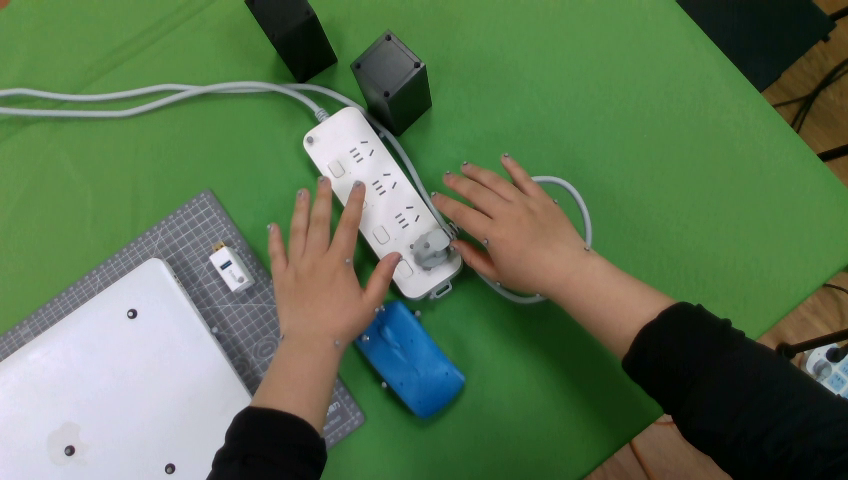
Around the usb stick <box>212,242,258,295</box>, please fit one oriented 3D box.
[{"bbox_3d":[-0.199,0.027,0.627,0.021,0.027,0.059,-36,80,3],"label":"usb stick"}]

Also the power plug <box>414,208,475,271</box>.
[{"bbox_3d":[0.025,0.003,0.594,0.072,0.053,0.035,-27,83,1],"label":"power plug"}]

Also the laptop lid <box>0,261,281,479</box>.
[{"bbox_3d":[-0.347,0.212,0.605,0.357,0.013,0.241,-34,84,-1],"label":"laptop lid"}]

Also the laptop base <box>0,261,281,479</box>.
[{"bbox_3d":[-0.347,0.212,0.617,0.354,0.023,0.235,-36,84,-2],"label":"laptop base"}]

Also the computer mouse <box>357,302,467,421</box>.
[{"bbox_3d":[-0.014,0.119,0.599,0.063,0.041,0.116,-41,76,1],"label":"computer mouse"}]

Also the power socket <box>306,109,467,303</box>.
[{"bbox_3d":[-0.040,-0.036,0.624,0.072,0.033,0.226,-35,81,0],"label":"power socket"}]
